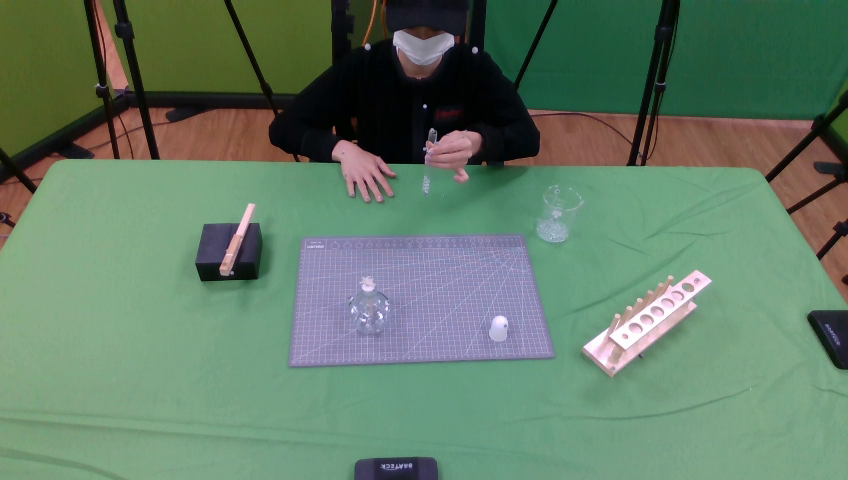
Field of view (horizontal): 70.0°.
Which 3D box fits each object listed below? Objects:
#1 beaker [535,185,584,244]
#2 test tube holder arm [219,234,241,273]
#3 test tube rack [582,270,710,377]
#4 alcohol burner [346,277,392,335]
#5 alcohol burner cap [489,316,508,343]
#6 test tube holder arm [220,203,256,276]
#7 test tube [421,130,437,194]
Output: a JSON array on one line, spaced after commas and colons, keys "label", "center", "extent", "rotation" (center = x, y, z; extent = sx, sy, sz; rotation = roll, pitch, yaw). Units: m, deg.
[{"label": "beaker", "center": [0.268, -0.048, 1.213], "extent": [0.084, 0.101, 0.073], "rotation": [6, 46, 0]}, {"label": "test tube holder arm", "center": [-0.344, 0.023, 1.076], "extent": [0.015, 0.010, 0.087], "rotation": [5, 45, 1]}, {"label": "test tube rack", "center": [0.389, 0.132, 1.057], "extent": [0.242, 0.085, 0.066], "rotation": [-28, 54, -28]}, {"label": "alcohol burner", "center": [-0.093, 0.106, 1.021], "extent": [0.078, 0.120, 0.077], "rotation": [1, 46, -1]}, {"label": "alcohol burner cap", "center": [0.130, 0.151, 1.045], "extent": [0.034, 0.048, 0.033], "rotation": [2, 46, -2]}, {"label": "test tube holder arm", "center": [-0.340, -0.004, 1.112], "extent": [0.015, 0.013, 0.177], "rotation": [5, 45, 1]}, {"label": "test tube", "center": [0.008, -0.143, 1.139], "extent": [0.017, 0.151, 0.017], "rotation": [4, 47, -4]}]
